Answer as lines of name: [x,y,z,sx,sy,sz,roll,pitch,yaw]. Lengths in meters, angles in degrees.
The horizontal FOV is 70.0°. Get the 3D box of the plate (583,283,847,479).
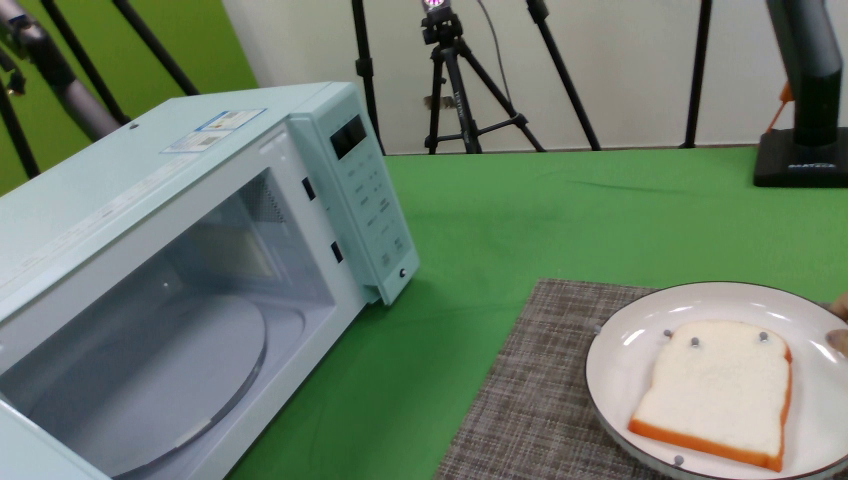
plate: [0.233,0.112,0.477,0.209,0.038,0.207,-14,31,9]

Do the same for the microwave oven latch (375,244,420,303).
microwave oven latch: [-0.034,0.038,0.712,0.030,0.030,0.079,5,39,33]

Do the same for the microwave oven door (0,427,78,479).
microwave oven door: [-0.114,0.197,0.300,0.353,0.246,0.039,8,40,37]

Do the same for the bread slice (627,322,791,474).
bread slice: [0.230,0.114,0.480,0.104,0.019,0.131,6,40,34]

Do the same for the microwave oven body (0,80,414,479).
microwave oven body: [-0.268,0.054,0.622,0.324,0.262,0.440,4,38,32]
